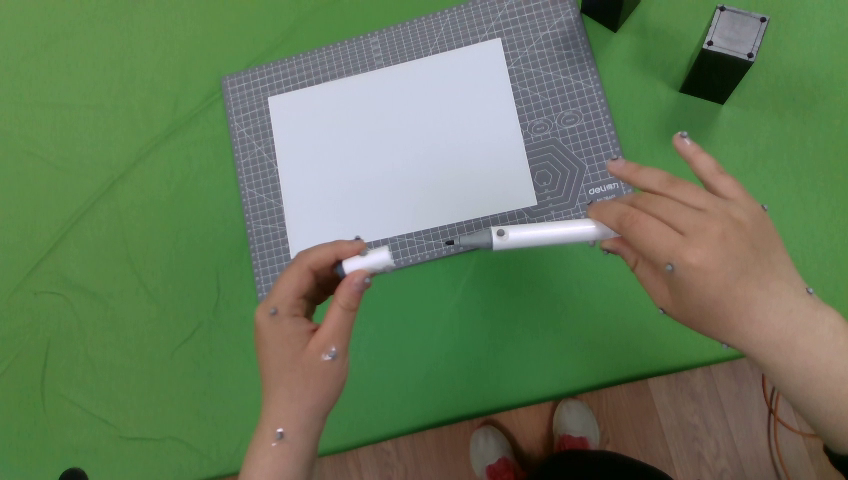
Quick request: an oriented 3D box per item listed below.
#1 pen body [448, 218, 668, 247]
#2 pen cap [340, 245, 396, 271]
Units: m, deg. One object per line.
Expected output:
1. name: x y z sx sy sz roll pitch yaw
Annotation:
1. pen body: 0.088 -0.004 0.403 0.144 0.017 0.017 -2 79 -1
2. pen cap: -0.038 0.013 0.409 0.038 0.017 0.017 -4 78 32
